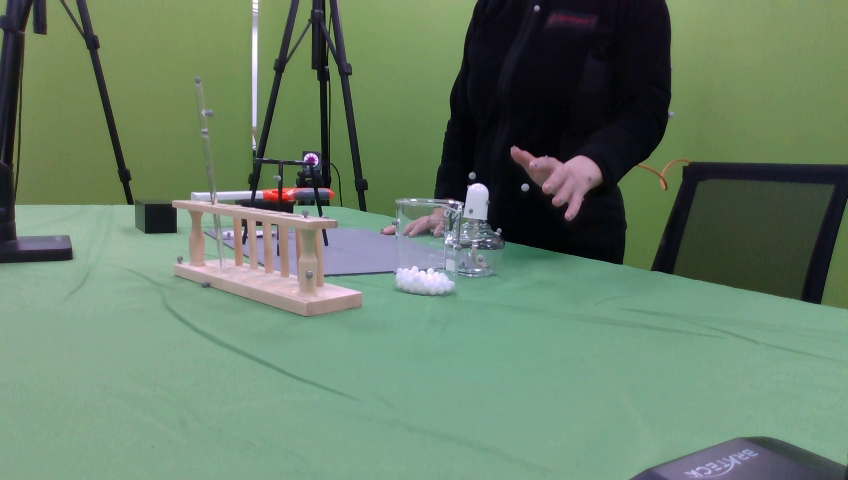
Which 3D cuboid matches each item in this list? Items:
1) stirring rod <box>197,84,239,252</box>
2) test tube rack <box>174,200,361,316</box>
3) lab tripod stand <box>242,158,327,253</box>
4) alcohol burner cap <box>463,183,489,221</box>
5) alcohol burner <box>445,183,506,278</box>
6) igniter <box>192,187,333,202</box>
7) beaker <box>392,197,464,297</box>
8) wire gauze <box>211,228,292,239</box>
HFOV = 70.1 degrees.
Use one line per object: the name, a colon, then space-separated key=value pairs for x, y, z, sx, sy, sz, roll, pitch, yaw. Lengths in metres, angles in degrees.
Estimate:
stirring rod: x=-0.212 y=-0.072 z=0.625 sx=0.006 sy=0.176 sz=0.014 roll=-14 pitch=12 yaw=-22
test tube rack: x=-0.169 y=0.009 z=0.622 sx=0.241 sy=0.085 sz=0.067 roll=9 pitch=9 yaw=41
lab tripod stand: x=-0.207 y=-0.054 z=0.895 sx=0.148 sy=0.131 sz=0.148 roll=2 pitch=5 yaw=0
alcohol burner cap: x=0.067 y=-0.049 z=0.765 sx=0.034 sy=0.048 sz=0.034 roll=5 pitch=5 yaw=0
alcohol burner: x=0.066 y=-0.013 z=0.771 sx=0.078 sy=0.119 sz=0.078 roll=0 pitch=7 yaw=0
igniter: x=-0.316 y=-0.090 z=1.214 sx=0.278 sy=0.025 sz=0.057 roll=-5 pitch=13 yaw=-31
beaker: x=0.005 y=0.007 z=0.647 sx=0.074 sy=0.100 sz=0.083 roll=-5 pitch=11 yaw=-44
wire gauze: x=-0.298 y=-0.013 z=1.039 sx=0.122 sy=0.011 sz=0.124 roll=-2 pitch=6 yaw=-27
